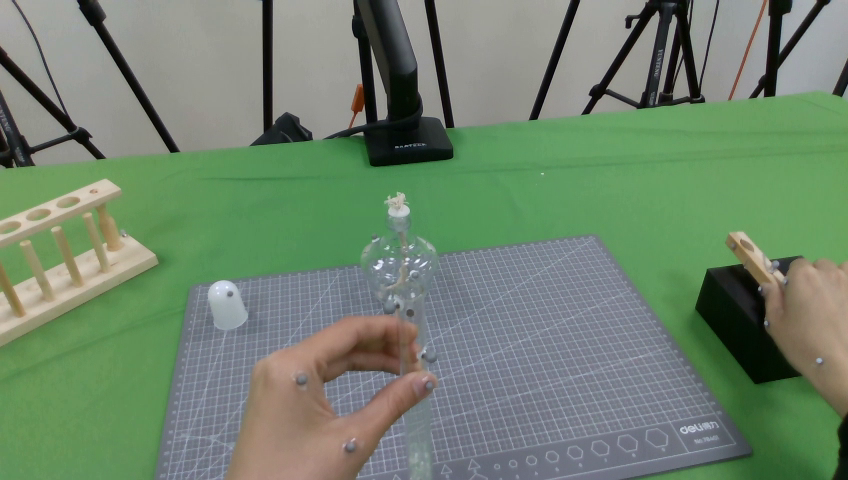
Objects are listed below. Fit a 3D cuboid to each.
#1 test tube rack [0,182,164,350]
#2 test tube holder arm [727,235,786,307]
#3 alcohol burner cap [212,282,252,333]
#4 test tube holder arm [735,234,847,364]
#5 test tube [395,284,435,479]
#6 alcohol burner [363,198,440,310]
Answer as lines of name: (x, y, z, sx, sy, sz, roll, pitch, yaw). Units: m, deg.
test tube rack: (-0.392, 0.037, 0.588, 0.066, 0.086, 0.242, 26, 44, 33)
test tube holder arm: (0.303, 0.027, 0.549, 0.010, 0.015, 0.087, -16, 38, 0)
alcohol burner cap: (-0.186, 0.062, 0.581, 0.034, 0.048, 0.033, 0, 37, 1)
test tube holder arm: (0.317, 0.052, 0.514, 0.013, 0.015, 0.176, -17, 38, -1)
test tube: (-0.003, 0.088, 0.335, 0.017, 0.151, 0.017, -2, 33, 2)
alcohol burner: (-0.022, 0.009, 0.588, 0.078, 0.120, 0.077, 0, 37, 0)
